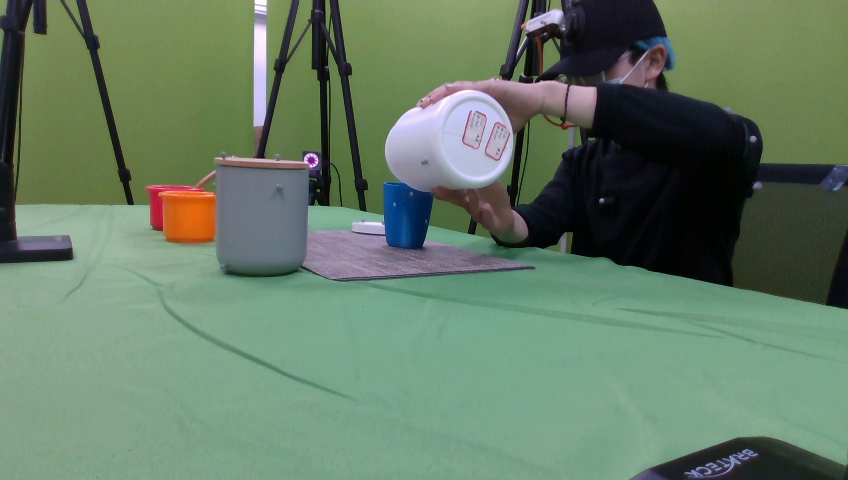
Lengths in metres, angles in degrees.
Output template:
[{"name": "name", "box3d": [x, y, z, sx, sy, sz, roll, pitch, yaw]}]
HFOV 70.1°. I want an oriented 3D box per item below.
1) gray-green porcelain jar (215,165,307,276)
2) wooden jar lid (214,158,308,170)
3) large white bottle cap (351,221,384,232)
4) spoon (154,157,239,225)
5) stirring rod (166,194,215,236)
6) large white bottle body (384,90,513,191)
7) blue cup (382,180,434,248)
[{"name": "gray-green porcelain jar", "box3d": [-0.195, -0.024, 0.726, 0.106, 0.126, 0.106, 3, 7, 0]}, {"name": "wooden jar lid", "box3d": [-0.193, -0.085, 0.719, 0.108, 0.020, 0.108, 2, 9, 0]}, {"name": "large white bottle cap", "box3d": [-0.082, -0.025, 1.162, 0.115, 0.018, 0.115, 3, 4, 0]}, {"name": "spoon", "box3d": [-0.411, -0.092, 1.104, 0.194, 0.022, 0.041, -50, 33, -20]}, {"name": "stirring rod", "box3d": [-0.341, -0.066, 0.967, 0.176, 0.006, 0.014, -42, 23, -9]}, {"name": "large white bottle body", "box3d": [0.027, -0.137, 0.877, 0.131, 0.130, 0.184, -2, 3, -28]}, {"name": "blue cup", "box3d": [-0.028, -0.042, 0.979, 0.093, 0.100, 0.092, 5, 10, -1]}]
